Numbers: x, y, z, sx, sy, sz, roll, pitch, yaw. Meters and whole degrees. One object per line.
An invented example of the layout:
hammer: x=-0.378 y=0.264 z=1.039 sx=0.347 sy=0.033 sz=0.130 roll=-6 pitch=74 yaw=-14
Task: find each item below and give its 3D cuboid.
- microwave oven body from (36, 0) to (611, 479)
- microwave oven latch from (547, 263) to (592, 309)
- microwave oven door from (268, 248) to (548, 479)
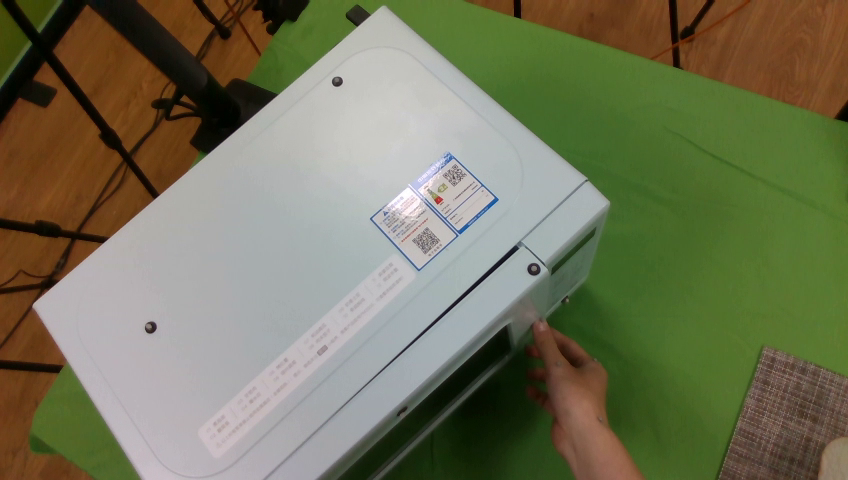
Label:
microwave oven body: x=-0.087 y=0.038 z=0.643 sx=0.441 sy=0.262 sz=0.323 roll=-43 pitch=70 yaw=-5
microwave oven latch: x=0.157 y=0.048 z=0.700 sx=0.079 sy=0.030 sz=0.030 roll=-40 pitch=70 yaw=-4
microwave oven door: x=-0.021 y=0.164 z=0.584 sx=0.355 sy=0.245 sz=0.039 roll=-41 pitch=69 yaw=-5
